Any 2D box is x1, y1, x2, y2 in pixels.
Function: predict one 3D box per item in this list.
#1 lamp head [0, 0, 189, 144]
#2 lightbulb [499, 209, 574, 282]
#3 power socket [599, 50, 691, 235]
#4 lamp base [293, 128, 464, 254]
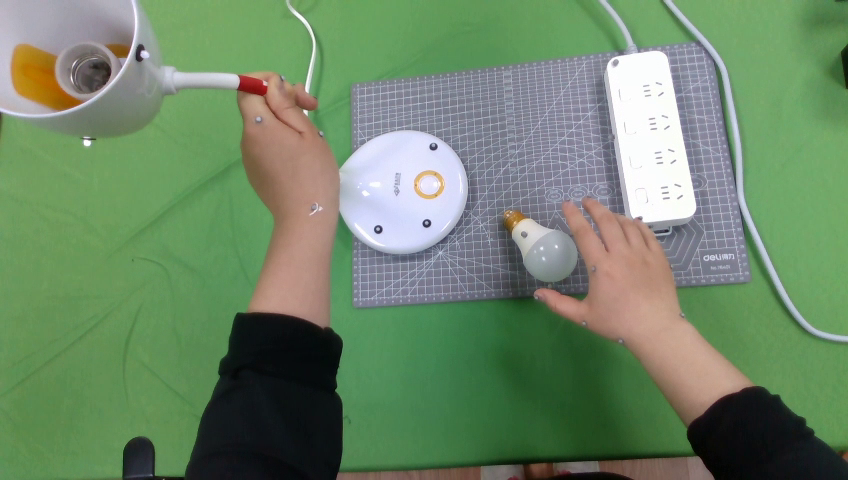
[{"bbox_3d":[-0.226,-0.115,0.407,0.112,0.123,0.112,0,83,2],"label":"lamp head"},{"bbox_3d":[0.123,0.001,0.686,0.059,0.060,0.106,-40,57,-2],"label":"lightbulb"},{"bbox_3d":[0.253,-0.119,0.701,0.072,0.033,0.225,-6,75,7],"label":"power socket"},{"bbox_3d":[-0.057,-0.078,0.667,0.179,0.181,0.159,-11,74,10],"label":"lamp base"}]
